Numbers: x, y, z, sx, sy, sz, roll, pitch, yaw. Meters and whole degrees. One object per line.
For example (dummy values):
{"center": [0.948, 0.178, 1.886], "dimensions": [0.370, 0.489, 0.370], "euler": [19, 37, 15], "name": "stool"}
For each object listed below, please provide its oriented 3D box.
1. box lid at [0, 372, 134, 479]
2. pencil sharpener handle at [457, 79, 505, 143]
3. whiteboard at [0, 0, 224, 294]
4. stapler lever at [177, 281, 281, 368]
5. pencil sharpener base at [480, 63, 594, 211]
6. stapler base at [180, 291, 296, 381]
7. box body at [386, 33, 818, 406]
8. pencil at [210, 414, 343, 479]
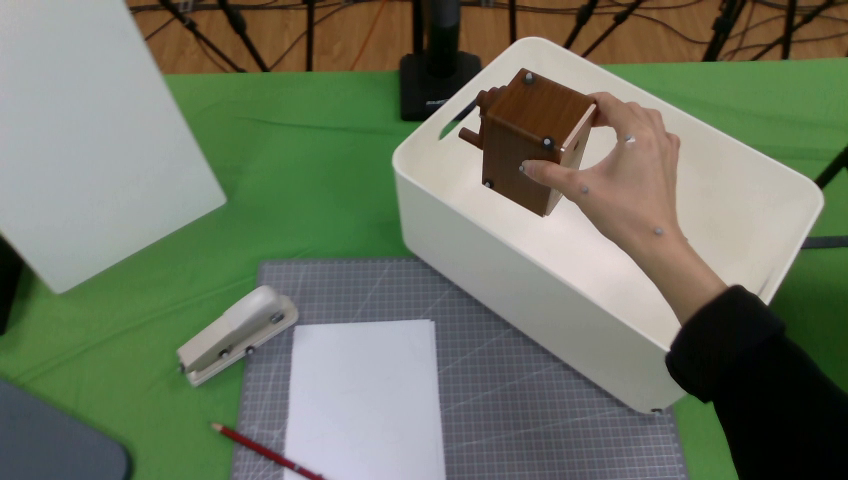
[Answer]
{"center": [-0.472, 0.304, 0.542], "dimensions": [0.262, 0.015, 0.369], "euler": [22, 61, 12], "name": "box lid"}
{"center": [0.046, -0.114, 0.523], "dimensions": [0.030, 0.068, 0.036], "euler": [30, 55, 18], "name": "pencil sharpener handle"}
{"center": [-0.403, -0.135, 0.667], "dimensions": [0.217, 0.308, 0.142], "euler": [-33, 46, -18], "name": "whiteboard"}
{"center": [-0.205, 0.086, 0.636], "dimensions": [0.118, 0.040, 0.026], "euler": [-34, 61, -16], "name": "stapler lever"}
{"center": [0.091, -0.086, 0.521], "dimensions": [0.076, 0.108, 0.061], "euler": [30, 68, 18], "name": "pencil sharpener base"}
{"center": [-0.203, 0.098, 0.658], "dimensions": [0.130, 0.024, 0.041], "euler": [-34, 61, -15], "name": "stapler base"}
{"center": [0.172, -0.027, 0.658], "dimensions": [0.362, 0.161, 0.253], "euler": [34, 64, 18], "name": "box body"}
{"center": [-0.133, 0.214, 0.598], "dimensions": [0.193, 0.012, 0.012], "euler": [22, 61, 14], "name": "pencil"}
